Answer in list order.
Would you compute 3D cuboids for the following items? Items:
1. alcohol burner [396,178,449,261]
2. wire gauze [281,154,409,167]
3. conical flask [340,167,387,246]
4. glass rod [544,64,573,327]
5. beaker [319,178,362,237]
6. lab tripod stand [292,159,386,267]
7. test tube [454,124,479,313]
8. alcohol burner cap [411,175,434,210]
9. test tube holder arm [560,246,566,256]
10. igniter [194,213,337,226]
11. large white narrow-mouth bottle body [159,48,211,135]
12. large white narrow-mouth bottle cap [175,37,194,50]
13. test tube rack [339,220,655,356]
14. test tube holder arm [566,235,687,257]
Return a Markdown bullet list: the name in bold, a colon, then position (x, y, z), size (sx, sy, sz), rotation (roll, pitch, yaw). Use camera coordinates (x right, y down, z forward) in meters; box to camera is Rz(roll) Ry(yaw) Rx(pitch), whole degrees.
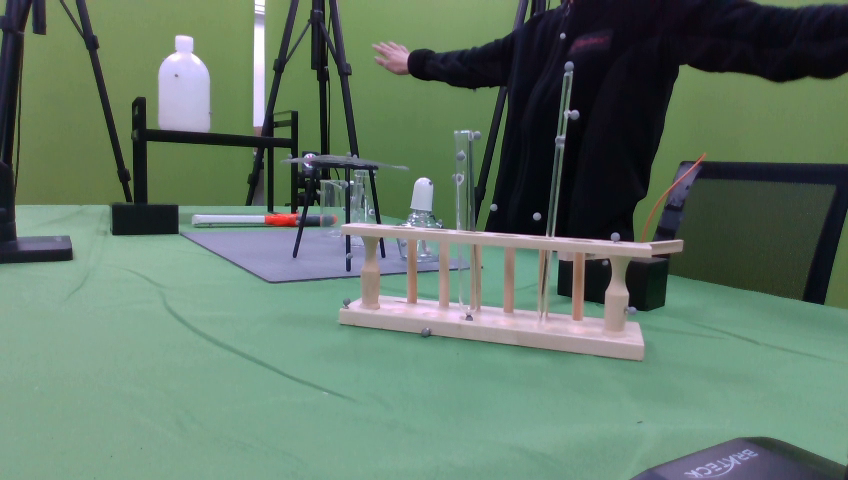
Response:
- **alcohol burner**: position (-0.002, -0.031, 0.846), size (0.078, 0.119, 0.078), rotation (0, 6, 0)
- **wire gauze**: position (-0.104, -0.104, 0.784), size (0.126, 0.011, 0.121), rotation (-2, 8, -38)
- **conical flask**: position (-0.095, -0.054, 0.964), size (0.075, 0.122, 0.075), rotation (2, 8, 0)
- **glass rod**: position (0.101, -0.028, 0.453), size (0.008, 0.199, 0.008), rotation (2, 13, 0)
- **beaker**: position (-0.148, -0.058, 1.069), size (0.074, 0.100, 0.084), rotation (1, 8, -8)
- **lab tripod stand**: position (-0.105, -0.039, 0.797), size (0.148, 0.131, 0.148), rotation (2, 5, 0)
- **test tube**: position (0.034, -0.015, 0.477), size (0.017, 0.150, 0.017), rotation (-2, 9, 1)
- **alcohol burner cap**: position (0.000, -0.067, 0.842), size (0.034, 0.048, 0.034), rotation (7, 8, -1)
- **test tube holder arm**: position (0.173, 0.007, 0.612), size (0.088, 0.015, 0.010), rotation (-3, 9, -30)
- **igniter**: position (-0.306, -0.041, 1.197), size (0.278, 0.025, 0.057), rotation (-2, -2, -30)
- **large white narrow-mouth bottle body**: position (-0.503, -0.323, 1.275), size (0.102, 0.194, 0.102), rotation (2, 7, 0)
- **large white narrow-mouth bottle cap**: position (-0.501, -0.409, 1.264), size (0.038, 0.024, 0.037), rotation (2, 7, 0)
- **test tube rack**: position (0.056, 0.032, 0.495), size (0.242, 0.085, 0.067), rotation (4, 7, 15)
- **test tube holder arm**: position (0.215, 0.006, 0.630), size (0.179, 0.015, 0.013), rotation (-3, 9, -31)
